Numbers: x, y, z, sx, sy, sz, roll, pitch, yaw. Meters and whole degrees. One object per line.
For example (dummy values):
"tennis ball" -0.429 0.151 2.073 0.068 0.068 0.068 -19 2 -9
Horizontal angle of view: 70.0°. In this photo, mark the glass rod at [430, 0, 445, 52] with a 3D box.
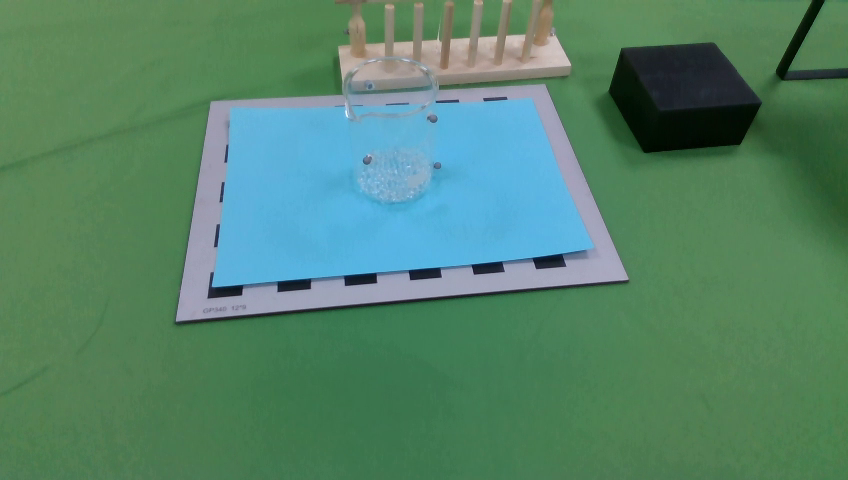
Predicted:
"glass rod" 0.023 -0.267 0.583 0.008 0.201 0.008 5 51 -6

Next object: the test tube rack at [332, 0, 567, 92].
"test tube rack" 0.030 -0.217 0.627 0.243 0.086 0.066 -6 50 -7

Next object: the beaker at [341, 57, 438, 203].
"beaker" -0.030 -0.085 0.498 0.073 0.101 0.084 33 56 24
